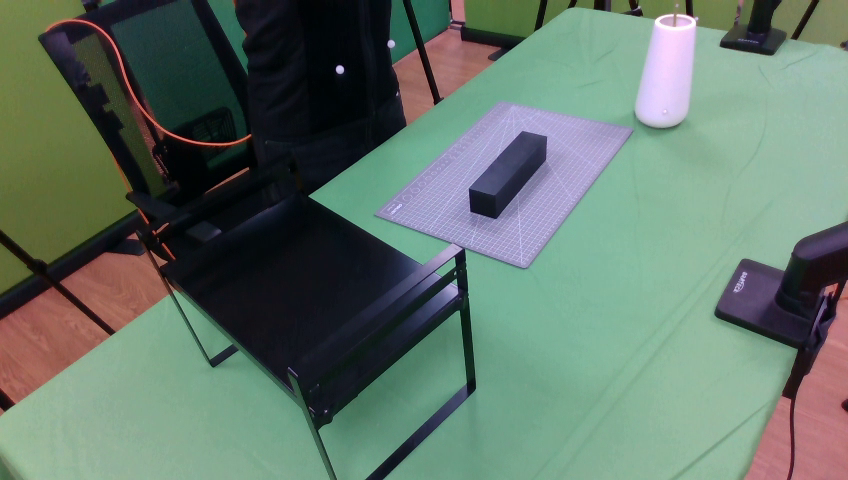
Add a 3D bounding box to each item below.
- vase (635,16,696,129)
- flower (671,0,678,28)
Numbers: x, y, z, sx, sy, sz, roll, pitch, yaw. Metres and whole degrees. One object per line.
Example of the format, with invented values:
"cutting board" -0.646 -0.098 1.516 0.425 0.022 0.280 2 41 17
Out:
"vase" 0.455 -0.310 1.133 0.098 0.201 0.097 -4 42 4
"flower" 0.440 -0.361 1.067 0.043 0.364 0.038 36 75 31
